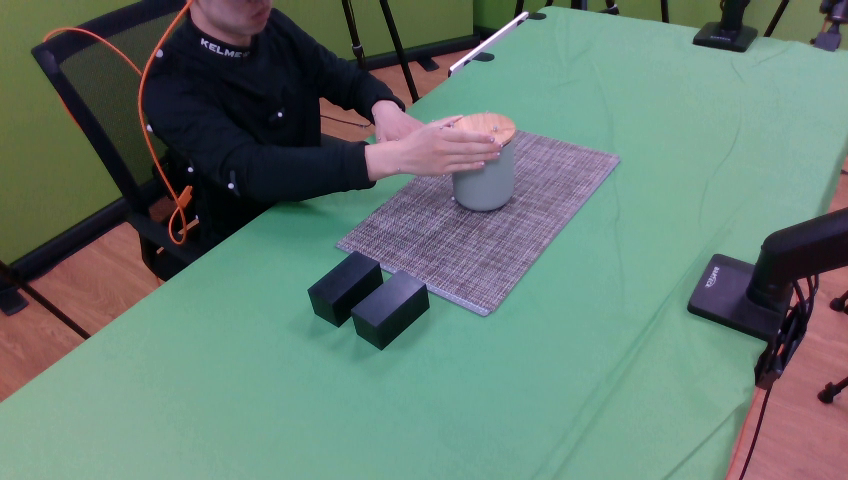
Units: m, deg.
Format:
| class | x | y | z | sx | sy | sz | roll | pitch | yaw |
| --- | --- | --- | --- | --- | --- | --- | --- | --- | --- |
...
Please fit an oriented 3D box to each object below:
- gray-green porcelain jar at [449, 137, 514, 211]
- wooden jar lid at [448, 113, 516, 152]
| class | x | y | z | sx | sy | sz | roll | pitch | yaw |
| --- | --- | --- | --- | --- | --- | --- | --- | --- | --- |
| gray-green porcelain jar | 0.098 | -0.120 | 1.009 | 0.106 | 0.127 | 0.105 | -4 | 41 | 4 |
| wooden jar lid | 0.092 | -0.169 | 0.966 | 0.108 | 0.021 | 0.108 | -5 | 39 | 5 |
